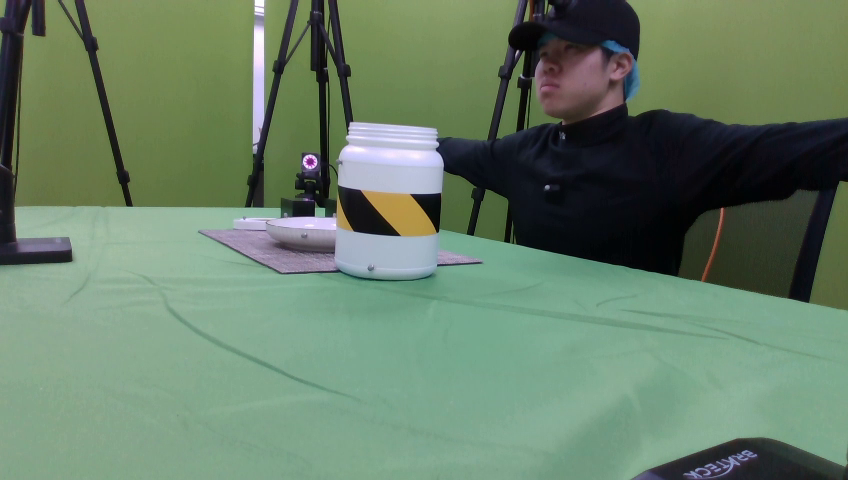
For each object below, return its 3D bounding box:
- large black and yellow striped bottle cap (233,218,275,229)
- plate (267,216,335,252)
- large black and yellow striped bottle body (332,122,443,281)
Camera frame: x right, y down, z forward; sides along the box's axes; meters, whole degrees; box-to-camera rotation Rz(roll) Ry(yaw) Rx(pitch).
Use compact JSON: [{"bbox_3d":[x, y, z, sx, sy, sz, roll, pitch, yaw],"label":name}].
[{"bbox_3d":[-0.311,-0.032,1.172,0.115,0.019,0.115,1,4,0],"label":"large black and yellow striped bottle cap"},{"bbox_3d":[-0.144,-0.010,0.967,0.208,0.039,0.207,2,7,0],"label":"plate"},{"bbox_3d":[-0.045,-0.051,0.755,0.131,0.184,0.130,4,10,0],"label":"large black and yellow striped bottle body"}]
